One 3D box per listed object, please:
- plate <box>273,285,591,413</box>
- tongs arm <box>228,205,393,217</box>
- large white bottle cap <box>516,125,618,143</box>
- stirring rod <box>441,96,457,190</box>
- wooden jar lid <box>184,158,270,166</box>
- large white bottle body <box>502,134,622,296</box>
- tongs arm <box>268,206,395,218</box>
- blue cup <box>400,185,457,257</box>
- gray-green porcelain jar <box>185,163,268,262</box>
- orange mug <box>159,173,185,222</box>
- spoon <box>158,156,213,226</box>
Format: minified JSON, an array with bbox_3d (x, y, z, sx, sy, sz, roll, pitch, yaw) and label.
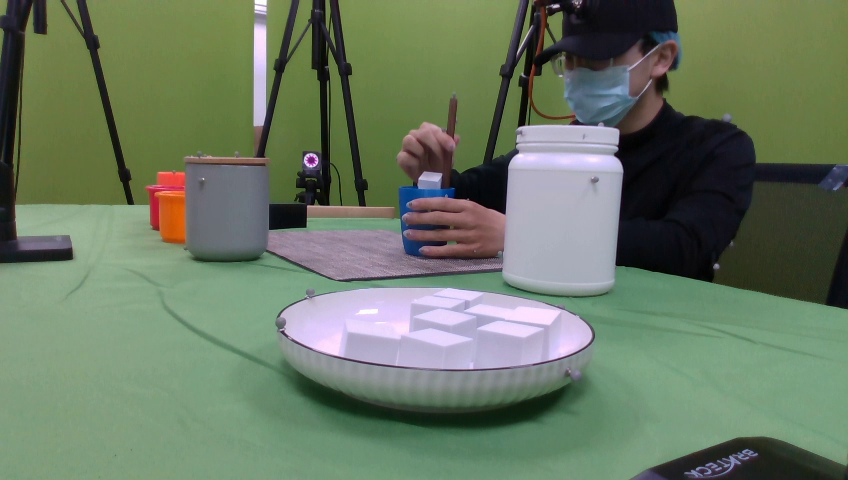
[{"bbox_3d":[0.005,0.069,0.407,0.208,0.039,0.207,2,7,0],"label":"plate"},{"bbox_3d":[-0.267,-0.069,1.453,0.389,0.027,0.028,0,-2,-18],"label":"tongs arm"},{"bbox_3d":[0.163,-0.120,0.695,0.115,0.018,0.115,2,7,0],"label":"large white bottle cap"},{"bbox_3d":[0.035,-0.123,0.896,0.014,0.176,0.006,14,14,39],"label":"stirring rod"},{"bbox_3d":[-0.260,-0.099,0.801,0.108,0.020,0.108,0,9,0],"label":"wooden jar lid"},{"bbox_3d":[0.160,-0.037,0.706,0.131,0.184,0.130,2,7,0],"label":"large white bottle body"},{"bbox_3d":[-0.230,-0.064,1.379,0.387,0.026,0.050,-1,2,-31],"label":"tongs arm"},{"bbox_3d":[0.003,-0.029,0.901,0.093,0.100,0.092,4,9,0],"label":"blue cup"},{"bbox_3d":[-0.263,-0.038,0.808,0.106,0.126,0.106,3,8,0],"label":"gray-green porcelain jar"},{"bbox_3d":[-0.477,-0.089,1.241,0.127,0.101,0.083,-7,11,-33],"label":"orange mug"},{"bbox_3d":[-0.435,-0.094,1.121,0.041,0.022,0.193,5,51,13],"label":"spoon"}]
